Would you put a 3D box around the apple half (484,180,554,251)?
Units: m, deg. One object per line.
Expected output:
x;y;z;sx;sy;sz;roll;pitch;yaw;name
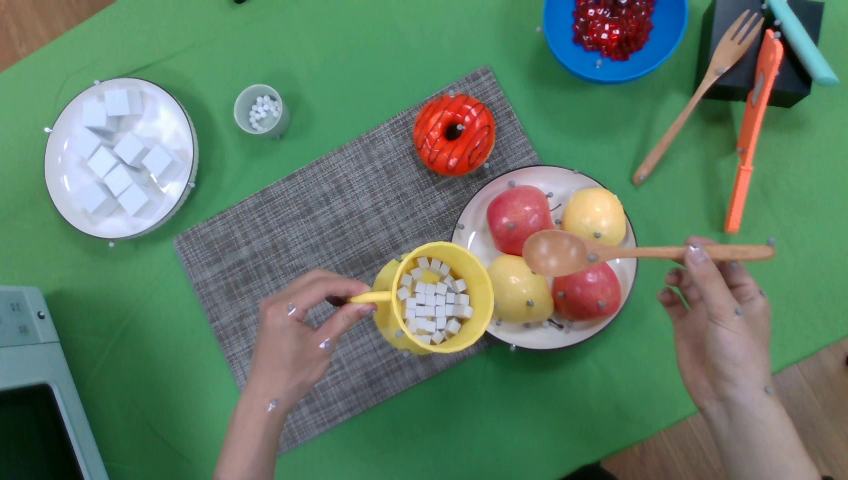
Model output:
0.105;-0.028;0.675;0.074;0.053;0.080;-10;88;8;apple half

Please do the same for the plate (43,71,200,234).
-0.379;-0.109;0.773;0.207;0.039;0.207;-1;86;8;plate

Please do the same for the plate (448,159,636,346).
0.131;0.014;0.686;0.209;0.038;0.208;-1;86;8;plate

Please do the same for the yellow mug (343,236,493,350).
-0.009;0.051;0.557;0.131;0.064;0.099;1;80;-22;yellow mug

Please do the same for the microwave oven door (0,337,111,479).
-0.420;0.278;0.629;0.039;0.244;0.354;-26;82;5;microwave oven door

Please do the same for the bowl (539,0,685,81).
0.203;-0.242;0.677;0.151;0.077;0.151;-1;86;8;bowl

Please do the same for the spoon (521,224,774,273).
0.177;0.007;0.491;0.193;0.022;0.041;0;80;17;spoon

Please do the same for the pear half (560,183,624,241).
0.181;-0.019;0.667;0.070;0.031;0.088;3;97;33;pear half

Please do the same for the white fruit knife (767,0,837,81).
0.369;-0.254;0.635;0.027;0.016;0.206;-22;80;-23;white fruit knife

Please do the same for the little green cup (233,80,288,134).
-0.199;-0.162;0.750;0.061;0.039;0.061;-1;86;9;little green cup

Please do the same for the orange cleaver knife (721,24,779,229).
0.344;-0.118;0.645;0.012;0.077;0.212;8;113;14;orange cleaver knife

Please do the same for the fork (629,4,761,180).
0.285;-0.153;0.654;0.028;0.018;0.208;31;111;2;fork

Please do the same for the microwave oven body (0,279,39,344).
-0.568;0.302;0.655;0.326;0.261;0.440;-25;83;5;microwave oven body

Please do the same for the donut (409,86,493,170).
0.032;-0.130;0.707;0.099;0.048;0.099;-1;87;11;donut

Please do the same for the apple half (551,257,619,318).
0.169;0.049;0.660;0.081;0.033;0.081;2;94;29;apple half

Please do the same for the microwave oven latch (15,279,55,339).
-0.493;0.088;0.756;0.030;0.029;0.079;-24;84;5;microwave oven latch

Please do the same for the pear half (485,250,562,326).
0.111;0.060;0.671;0.109;0.056;0.076;36;96;6;pear half
